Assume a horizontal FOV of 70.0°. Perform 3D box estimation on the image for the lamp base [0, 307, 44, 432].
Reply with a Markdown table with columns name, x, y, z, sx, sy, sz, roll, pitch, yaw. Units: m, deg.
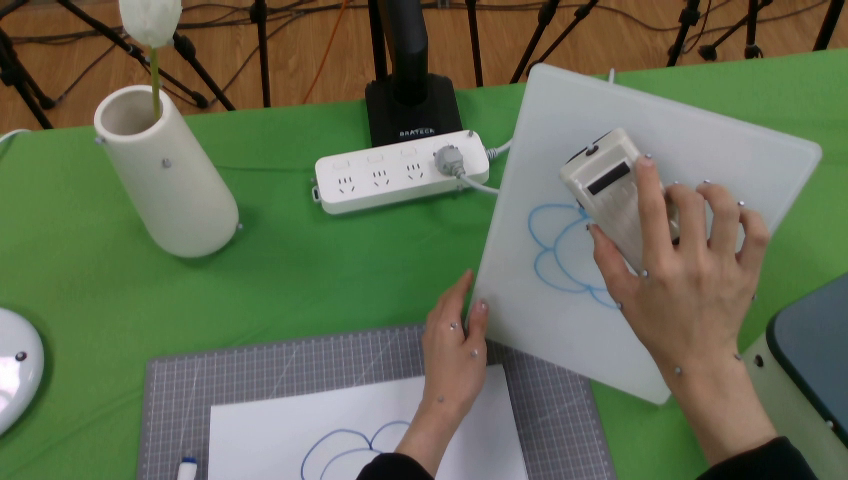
| name | x | y | z | sx | sy | sz | roll | pitch | yaw |
| --- | --- | --- | --- | --- | --- | --- | --- | --- | --- |
| lamp base | -0.480 | 0.094 | 0.547 | 0.178 | 0.182 | 0.160 | 21 | 61 | 15 |

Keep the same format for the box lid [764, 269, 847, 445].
| name | x | y | z | sx | sy | sz | roll | pitch | yaw |
| --- | --- | --- | --- | --- | --- | --- | --- | --- | --- |
| box lid | 0.465 | 0.155 | 0.446 | 0.263 | 0.015 | 0.368 | -24 | 63 | -13 |

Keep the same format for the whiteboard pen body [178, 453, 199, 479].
| name | x | y | z | sx | sy | sz | roll | pitch | yaw |
| --- | --- | --- | --- | --- | --- | --- | --- | --- | --- |
| whiteboard pen body | -0.220 | 0.263 | 0.538 | 0.017 | 0.017 | 0.139 | 0 | 61 | 0 |

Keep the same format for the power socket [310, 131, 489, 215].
| name | x | y | z | sx | sy | sz | roll | pitch | yaw |
| --- | --- | --- | --- | --- | --- | --- | --- | --- | --- |
| power socket | -0.027 | -0.084 | 0.744 | 0.227 | 0.033 | 0.071 | -11 | 61 | -8 |

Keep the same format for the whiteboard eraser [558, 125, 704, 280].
| name | x | y | z | sx | sy | sz | roll | pitch | yaw |
| --- | --- | --- | --- | --- | --- | --- | --- | --- | --- |
| whiteboard eraser | 0.155 | -0.027 | 0.452 | 0.055 | 0.041 | 0.113 | -38 | 106 | 17 |

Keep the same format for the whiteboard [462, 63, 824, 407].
| name | x | y | z | sx | sy | sz | roll | pitch | yaw |
| --- | --- | --- | --- | --- | --- | --- | --- | --- | --- |
| whiteboard | 0.186 | -0.020 | 0.587 | 0.216 | 0.308 | 0.143 | 20 | 40 | 12 |

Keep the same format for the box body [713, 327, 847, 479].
| name | x | y | z | sx | sy | sz | roll | pitch | yaw |
| --- | --- | --- | --- | --- | --- | --- | --- | --- | --- |
| box body | 0.466 | 0.195 | 0.509 | 0.254 | 0.161 | 0.360 | -23 | 62 | -14 |

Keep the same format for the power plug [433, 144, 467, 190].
| name | x | y | z | sx | sy | sz | roll | pitch | yaw |
| --- | --- | --- | --- | --- | --- | --- | --- | --- | --- |
| power plug | 0.029 | -0.080 | 0.717 | 0.035 | 0.053 | 0.072 | -3 | 66 | -2 |

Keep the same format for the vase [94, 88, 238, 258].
| name | x | y | z | sx | sy | sz | roll | pitch | yaw |
| --- | --- | --- | --- | --- | --- | --- | --- | --- | --- |
| vase | -0.265 | -0.064 | 0.633 | 0.098 | 0.201 | 0.097 | 0 | 59 | 1 |

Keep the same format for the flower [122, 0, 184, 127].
| name | x | y | z | sx | sy | sz | roll | pitch | yaw |
| --- | --- | --- | --- | --- | --- | --- | --- | --- | --- |
| flower | -0.244 | -0.101 | 0.560 | 0.038 | 0.363 | 0.044 | 40 | 57 | 2 |
